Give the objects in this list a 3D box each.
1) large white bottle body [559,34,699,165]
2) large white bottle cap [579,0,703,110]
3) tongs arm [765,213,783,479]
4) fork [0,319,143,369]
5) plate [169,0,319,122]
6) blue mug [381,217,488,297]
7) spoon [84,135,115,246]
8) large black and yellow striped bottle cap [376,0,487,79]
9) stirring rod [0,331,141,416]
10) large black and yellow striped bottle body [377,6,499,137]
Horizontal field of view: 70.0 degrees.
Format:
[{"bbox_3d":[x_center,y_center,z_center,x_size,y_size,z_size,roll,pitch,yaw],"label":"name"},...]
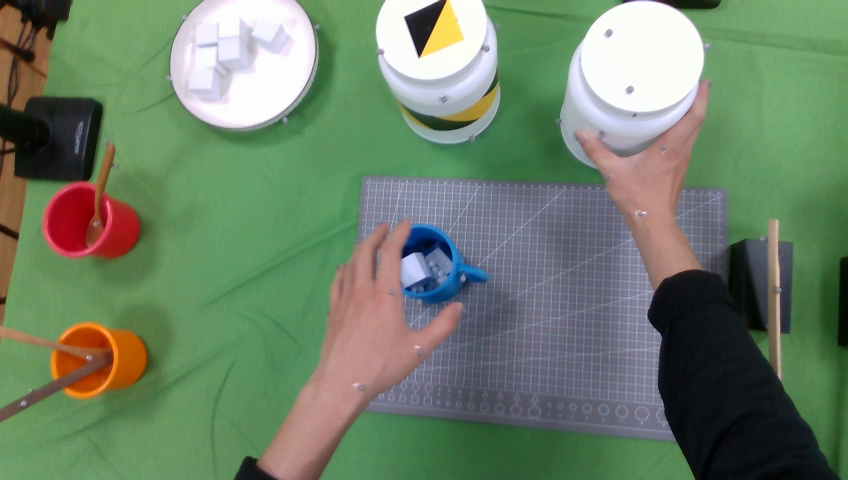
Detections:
[{"bbox_3d":[0.221,-0.168,0.668,0.130,0.185,0.130,-1,81,8],"label":"large white bottle body"},{"bbox_3d":[0.209,-0.182,0.585,0.114,0.018,0.114,-1,81,7],"label":"large white bottle cap"},{"bbox_3d":[0.387,0.163,0.638,0.051,0.026,0.385,-1,93,5],"label":"tongs arm"},{"bbox_3d":[-0.451,0.121,0.739,0.209,0.018,0.028,26,82,-33],"label":"fork"},{"bbox_3d":[-0.240,-0.256,0.819,0.207,0.039,0.207,-1,82,8],"label":"plate"},{"bbox_3d":[0.017,0.026,0.707,0.116,0.106,0.082,11,83,9],"label":"blue mug"},{"bbox_3d":[-0.407,-0.058,0.761,0.041,0.022,0.194,50,135,15],"label":"spoon"},{"bbox_3d":[0.008,-0.223,0.620,0.115,0.019,0.114,-1,83,7],"label":"large black and yellow striped bottle cap"},{"bbox_3d":[-0.430,0.160,0.736,0.176,0.006,0.014,-32,79,-41],"label":"stirring rod"},{"bbox_3d":[0.020,-0.208,0.702,0.130,0.185,0.130,-1,81,8],"label":"large black and yellow striped bottle body"}]
